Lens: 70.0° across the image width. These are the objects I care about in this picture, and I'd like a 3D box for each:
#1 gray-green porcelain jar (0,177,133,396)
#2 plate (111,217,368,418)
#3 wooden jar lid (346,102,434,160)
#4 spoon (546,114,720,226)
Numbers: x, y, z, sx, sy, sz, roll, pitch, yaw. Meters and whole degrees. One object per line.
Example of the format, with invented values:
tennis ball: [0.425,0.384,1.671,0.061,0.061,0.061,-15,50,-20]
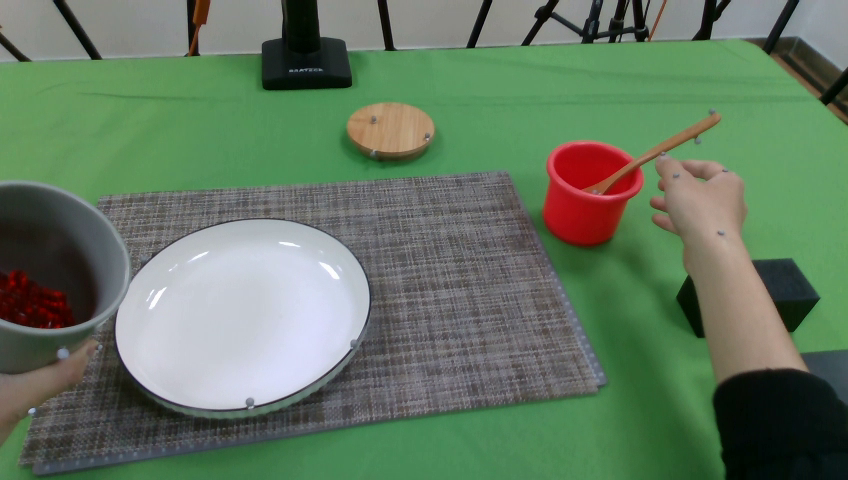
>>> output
gray-green porcelain jar: [-0.269,0.037,0.392,0.107,0.126,0.105,34,38,-31]
plate: [-0.152,0.063,0.522,0.208,0.039,0.205,3,45,-3]
wooden jar lid: [-0.041,-0.134,0.750,0.108,0.021,0.107,3,46,-3]
spoon: [0.211,-0.071,0.622,0.194,0.022,0.041,-35,42,23]
